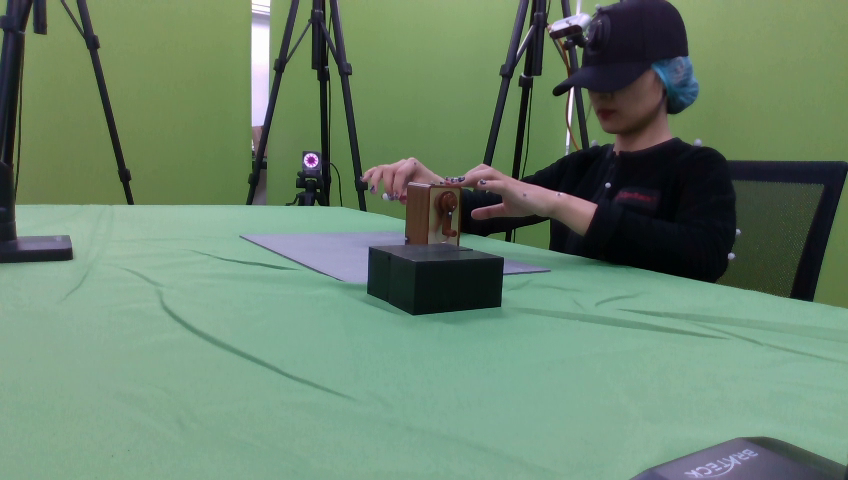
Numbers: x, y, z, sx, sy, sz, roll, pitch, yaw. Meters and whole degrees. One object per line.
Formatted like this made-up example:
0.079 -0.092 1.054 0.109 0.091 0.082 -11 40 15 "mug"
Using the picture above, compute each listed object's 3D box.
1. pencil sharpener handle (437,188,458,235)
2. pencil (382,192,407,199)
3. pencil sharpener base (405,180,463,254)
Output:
0.041 -0.041 0.876 0.036 0.067 0.030 2 7 -31 "pencil sharpener handle"
-0.025 -0.070 0.994 0.012 0.012 0.193 -2 6 -29 "pencil"
0.016 -0.036 0.922 0.061 0.107 0.076 -2 9 -30 "pencil sharpener base"
